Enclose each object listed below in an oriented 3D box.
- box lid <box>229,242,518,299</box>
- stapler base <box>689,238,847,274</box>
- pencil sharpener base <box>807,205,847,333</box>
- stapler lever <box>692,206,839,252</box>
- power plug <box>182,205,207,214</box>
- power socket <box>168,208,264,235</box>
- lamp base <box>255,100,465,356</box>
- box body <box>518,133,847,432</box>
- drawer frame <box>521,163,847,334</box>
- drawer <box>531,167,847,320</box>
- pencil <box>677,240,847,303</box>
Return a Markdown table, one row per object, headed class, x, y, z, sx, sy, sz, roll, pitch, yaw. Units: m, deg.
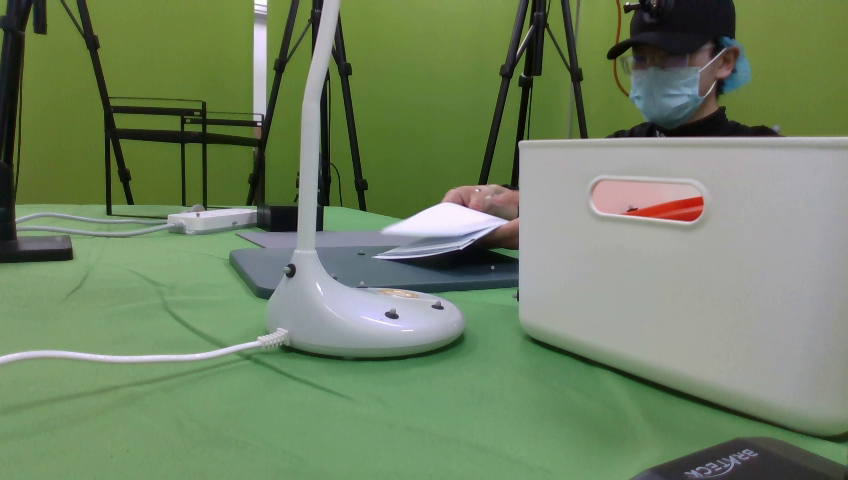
| class | x | y | z | sx | sy | sz | roll | pitch | yaw |
| --- | --- | --- | --- | --- | --- | --- | --- | --- | --- |
| box lid | -0.041 | 0.033 | 0.765 | 0.373 | 0.015 | 0.262 | -2 | 9 | -25 |
| stapler base | 0.270 | 0.013 | 0.488 | 0.041 | 0.024 | 0.130 | -15 | 3 | -19 |
| pencil sharpener base | 0.385 | 0.026 | 0.519 | 0.062 | 0.107 | 0.076 | -5 | 11 | -43 |
| stapler lever | 0.266 | -0.011 | 0.486 | 0.027 | 0.040 | 0.117 | -15 | 2 | -19 |
| power plug | -0.456 | -0.041 | 1.195 | 0.052 | 0.035 | 0.072 | 0 | 40 | 24 |
| power socket | -0.381 | -0.038 | 1.129 | 0.072 | 0.032 | 0.227 | 4 | 8 | 17 |
| lamp base | -0.051 | -0.014 | 0.466 | 0.160 | 0.180 | 0.180 | 7 | 11 | 34 |
| box body | 0.278 | 0.006 | 0.486 | 0.366 | 0.160 | 0.253 | -3 | 9 | -36 |
| drawer frame | 0.224 | 0.002 | 0.465 | 0.215 | 0.082 | 0.200 | -14 | 2 | -36 |
| drawer | 0.225 | 0.003 | 0.468 | 0.213 | 0.073 | 0.193 | -14 | 2 | -36 |
| pencil | 0.248 | 0.018 | 0.464 | 0.012 | 0.012 | 0.193 | 1 | 10 | -9 |
